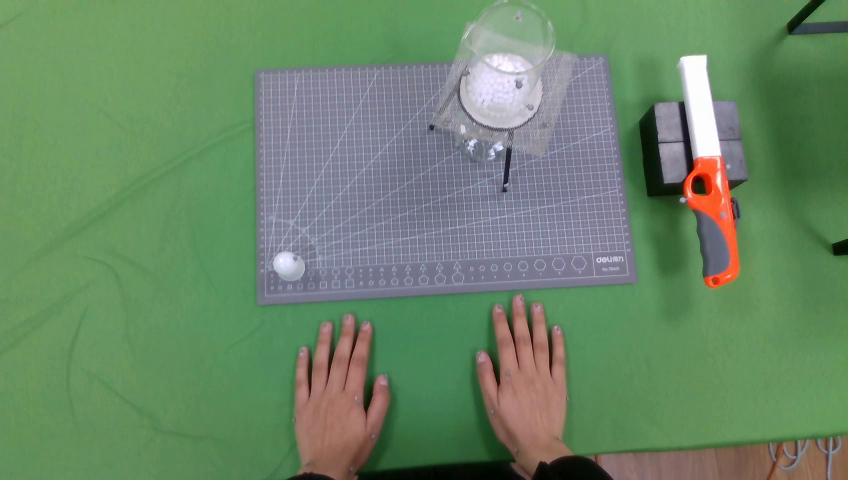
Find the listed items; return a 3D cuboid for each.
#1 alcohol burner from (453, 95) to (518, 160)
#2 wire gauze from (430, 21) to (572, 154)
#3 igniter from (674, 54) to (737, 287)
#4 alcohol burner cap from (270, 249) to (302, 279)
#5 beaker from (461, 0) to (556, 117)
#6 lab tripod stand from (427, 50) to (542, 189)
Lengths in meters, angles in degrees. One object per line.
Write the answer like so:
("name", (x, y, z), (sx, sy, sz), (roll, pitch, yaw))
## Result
("alcohol burner", (0.072, -0.136, 0.698), (0.078, 0.119, 0.077), (0, 80, -1))
("wire gauze", (0.082, -0.158, 0.626), (0.121, 0.011, 0.124), (19, 75, 0))
("igniter", (0.321, -0.083, 0.695), (0.057, 0.025, 0.275), (-3, 78, 3))
("alcohol burner cap", (-0.160, 0.025, 0.694), (0.034, 0.048, 0.033), (1, 78, -2))
("beaker", (0.074, -0.168, 0.579), (0.084, 0.100, 0.073), (-2, 76, -2))
("lab tripod stand", (0.078, -0.147, 0.690), (0.148, 0.132, 0.147), (0, 76, -1))
